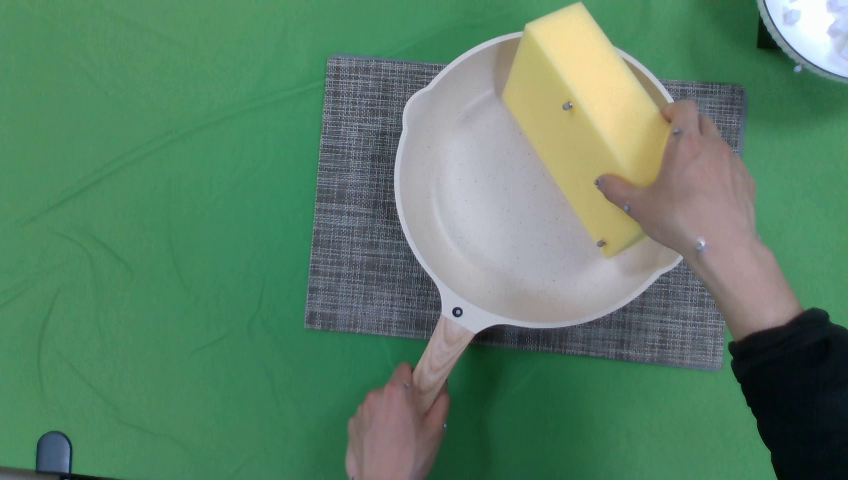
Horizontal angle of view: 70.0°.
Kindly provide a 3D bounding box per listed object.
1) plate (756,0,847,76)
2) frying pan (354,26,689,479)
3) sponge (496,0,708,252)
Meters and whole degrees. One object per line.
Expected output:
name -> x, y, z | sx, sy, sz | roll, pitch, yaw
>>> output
plate -> 0.415, -0.256, 0.578 | 0.207, 0.039, 0.207 | 0, 90, 1
frying pan -> 0.060, 0.024, 0.607 | 0.306, 0.103, 0.487 | 30, 83, 4
sponge -> 0.155, -0.102, 0.569 | 0.061, 0.119, 0.205 | -27, 76, -12
